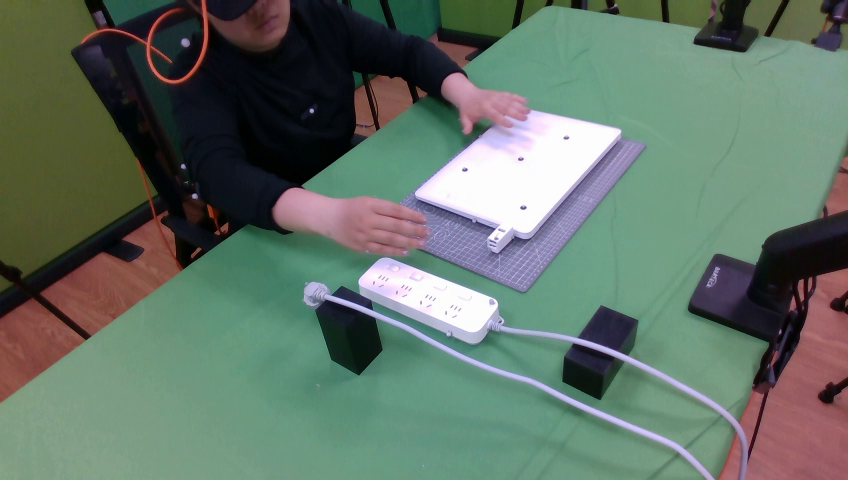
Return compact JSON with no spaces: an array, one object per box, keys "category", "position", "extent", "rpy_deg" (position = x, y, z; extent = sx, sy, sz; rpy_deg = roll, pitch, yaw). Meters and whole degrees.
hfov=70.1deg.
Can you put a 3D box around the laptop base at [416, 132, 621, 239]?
[{"category":"laptop base","position":[0.179,-0.134,1.101],"extent":[0.233,0.023,0.355],"rpy_deg":[20,48,32]}]

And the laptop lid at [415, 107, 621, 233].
[{"category":"laptop lid","position":[0.175,-0.144,1.094],"extent":[0.239,0.013,0.358],"rpy_deg":[23,49,33]}]

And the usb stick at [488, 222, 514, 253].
[{"category":"usb stick","position":[0.124,-0.008,0.944],"extent":[0.021,0.027,0.059],"rpy_deg":[25,47,31]}]

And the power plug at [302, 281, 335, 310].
[{"category":"power plug","position":[-0.133,0.081,0.783],"extent":[0.035,0.053,0.072],"rpy_deg":[-43,47,-6]}]

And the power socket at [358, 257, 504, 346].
[{"category":"power socket","position":[0.004,0.083,0.862],"extent":[0.225,0.033,0.072],"rpy_deg":[20,48,28]}]
